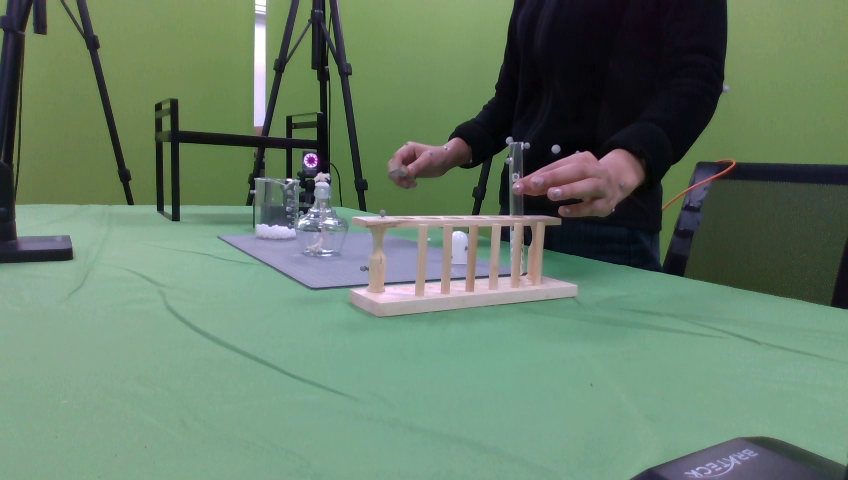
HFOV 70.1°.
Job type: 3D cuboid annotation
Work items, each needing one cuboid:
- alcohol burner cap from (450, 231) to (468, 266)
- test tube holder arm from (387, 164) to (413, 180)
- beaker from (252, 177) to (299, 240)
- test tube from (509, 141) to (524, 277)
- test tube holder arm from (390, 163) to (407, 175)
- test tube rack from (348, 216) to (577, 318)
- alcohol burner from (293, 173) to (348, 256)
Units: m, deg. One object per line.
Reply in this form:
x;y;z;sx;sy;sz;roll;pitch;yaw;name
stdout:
0.046;0.012;0.839;0.034;0.048;0.034;3;6;0;alcohol burner cap
-0.040;-0.117;1.044;0.013;0.015;0.178;-5;0;8;test tube holder arm
-0.245;-0.052;1.005;0.074;0.100;0.083;-2;10;-32;beaker
0.102;-0.033;0.665;0.017;0.150;0.017;-2;9;1;test tube
-0.041;-0.116;0.999;0.010;0.015;0.088;-5;0;10;test tube holder arm
0.048;0.021;0.619;0.244;0.085;0.066;-2;8;-31;test tube rack
-0.147;-0.036;0.859;0.078;0.119;0.078;4;8;0;alcohol burner
